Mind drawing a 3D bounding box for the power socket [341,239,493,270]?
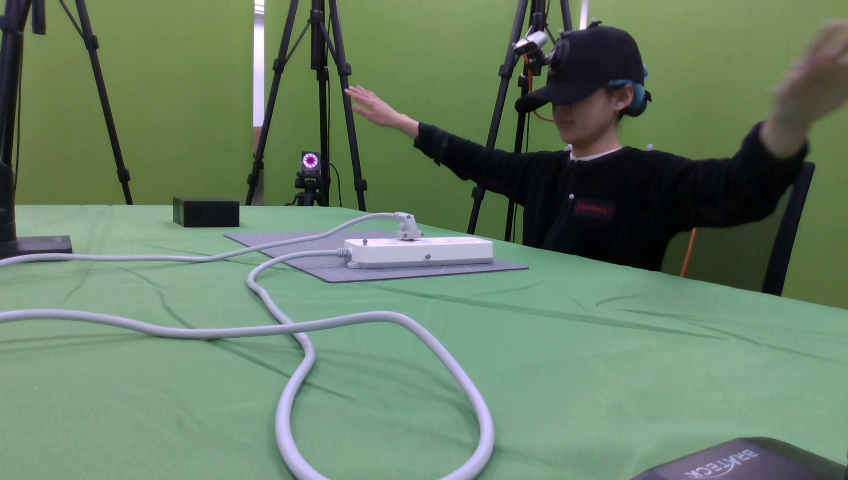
[{"bbox_3d":[-0.006,0.018,0.831,0.228,0.032,0.072,-1,7,-28],"label":"power socket"}]

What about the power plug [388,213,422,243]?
[{"bbox_3d":[-0.027,-0.009,0.848,0.035,0.052,0.072,1,8,-18],"label":"power plug"}]
